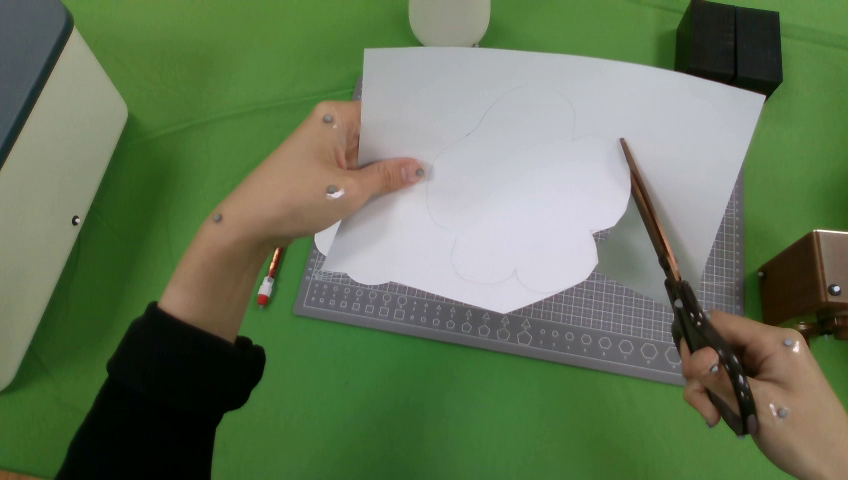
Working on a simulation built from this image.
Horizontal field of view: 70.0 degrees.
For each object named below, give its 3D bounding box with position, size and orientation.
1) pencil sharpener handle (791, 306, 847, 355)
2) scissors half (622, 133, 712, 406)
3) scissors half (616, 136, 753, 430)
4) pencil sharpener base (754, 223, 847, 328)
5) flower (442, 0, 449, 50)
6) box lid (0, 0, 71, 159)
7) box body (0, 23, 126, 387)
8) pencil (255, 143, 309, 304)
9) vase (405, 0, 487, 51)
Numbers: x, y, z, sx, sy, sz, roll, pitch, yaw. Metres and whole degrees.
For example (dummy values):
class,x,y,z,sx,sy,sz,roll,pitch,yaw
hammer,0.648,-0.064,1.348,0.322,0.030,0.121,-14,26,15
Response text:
class,x,y,z,sx,sy,sz,roll,pitch,yaw
pencil sharpener handle,0.360,0.083,0.542,0.036,0.068,0.030,10,68,-11
scissors half,0.143,0.020,0.357,0.013,0.040,0.176,-20,104,6
scissors half,0.142,0.021,0.336,0.013,0.040,0.174,-21,82,0
pencil sharpener base,0.369,0.041,0.572,0.061,0.108,0.076,5,68,2
flower,0.019,-0.347,0.589,0.044,0.365,0.038,3,50,5
box lid,-0.485,-0.082,0.511,0.263,0.015,0.369,10,68,4
box body,-0.485,-0.052,0.580,0.254,0.161,0.361,9,68,4
pencil,-0.150,-0.024,0.653,0.012,0.012,0.193,10,67,5
vase,0.025,-0.303,0.660,0.098,0.201,0.097,0,67,1
